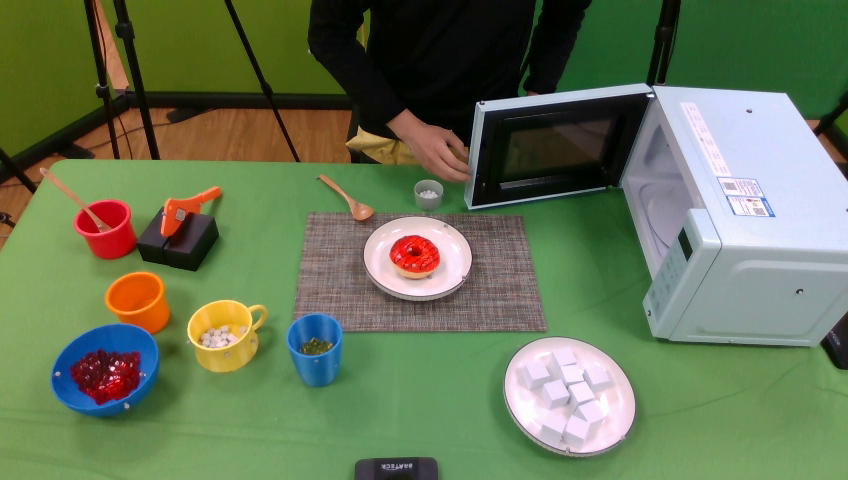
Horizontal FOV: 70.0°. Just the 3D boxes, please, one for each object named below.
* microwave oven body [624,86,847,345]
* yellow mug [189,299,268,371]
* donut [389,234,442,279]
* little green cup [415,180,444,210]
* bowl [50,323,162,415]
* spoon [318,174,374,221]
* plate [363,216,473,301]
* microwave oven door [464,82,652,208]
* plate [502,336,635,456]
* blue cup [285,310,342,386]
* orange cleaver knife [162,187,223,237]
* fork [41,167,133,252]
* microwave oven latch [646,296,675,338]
[{"bbox_3d":[0.567,-0.053,1.118,0.326,0.261,0.439,2,45,-1],"label":"microwave oven body"},{"bbox_3d":[-0.316,0.148,1.002,0.131,0.064,0.099,-32,56,-31],"label":"yellow mug"},{"bbox_3d":[-0.016,0.031,1.135,0.099,0.048,0.098,4,44,-3],"label":"donut"},{"bbox_3d":[0.011,-0.094,1.278,0.061,0.039,0.061,2,48,-2],"label":"little green cup"},{"bbox_3d":[-0.472,0.209,0.924,0.151,0.077,0.150,3,45,-2],"label":"bowl"},{"bbox_3d":[-0.168,-0.095,1.274,0.041,0.022,0.192,-39,56,-14],"label":"spoon"},{"bbox_3d":[-0.012,0.038,1.144,0.209,0.038,0.208,2,46,-2],"label":"plate"},{"bbox_3d":[0.264,-0.189,1.221,0.356,0.245,0.039,-9,48,-13],"label":"microwave oven door"},{"bbox_3d":[0.225,0.248,0.963,0.208,0.039,0.206,2,46,-2],"label":"plate"},{"bbox_3d":[-0.170,0.179,0.958,0.093,0.101,0.092,2,44,-1],"label":"blue cup"},{"bbox_3d":[-0.448,-0.058,1.181,0.012,0.077,0.211,13,17,6],"label":"orange cleaver knife"},{"bbox_3d":[-0.624,-0.056,1.121,0.208,0.018,0.028,49,51,-15],"label":"fork"},{"bbox_3d":[0.412,0.134,1.061,0.030,0.029,0.078,3,45,0],"label":"microwave oven latch"}]
